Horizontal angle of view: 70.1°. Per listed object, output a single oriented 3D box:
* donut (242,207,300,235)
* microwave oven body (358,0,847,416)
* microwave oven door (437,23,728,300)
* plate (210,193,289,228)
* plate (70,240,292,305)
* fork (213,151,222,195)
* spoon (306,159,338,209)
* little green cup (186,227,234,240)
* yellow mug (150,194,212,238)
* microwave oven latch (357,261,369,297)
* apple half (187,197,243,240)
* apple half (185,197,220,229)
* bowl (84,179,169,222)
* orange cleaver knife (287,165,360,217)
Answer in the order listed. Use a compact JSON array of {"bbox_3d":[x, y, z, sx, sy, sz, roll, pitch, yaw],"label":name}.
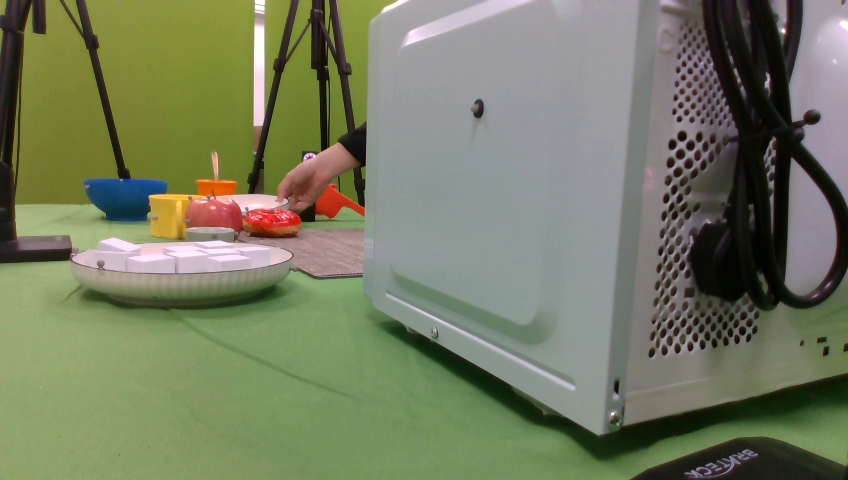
[{"bbox_3d":[-0.263,-0.032,1.039,0.099,0.048,0.099,4,9,0],"label":"donut"},{"bbox_3d":[0.211,-0.047,0.474,0.444,0.260,0.324,-1,7,-28],"label":"microwave oven body"},{"bbox_3d":[0.181,-0.072,0.621,0.358,0.243,0.039,-2,8,-29],"label":"microwave oven door"},{"bbox_3d":[-0.369,-0.057,1.177,0.209,0.038,0.209,-1,15,1],"label":"plate"},{"bbox_3d":[-0.242,0.031,0.618,0.208,0.039,0.207,2,8,0],"label":"plate"},{"bbox_3d":[-0.494,-0.143,1.442,0.028,0.018,0.206,-1,52,-21],"label":"fork"},{"bbox_3d":[-0.257,-0.147,1.567,0.041,0.022,0.193,1,51,20],"label":"spoon"},{"bbox_3d":[-0.284,0.005,0.805,0.061,0.038,0.061,2,8,0],"label":"little green cup"},{"bbox_3d":[-0.401,-0.039,1.003,0.100,0.064,0.130,0,9,-20],"label":"yellow mug"},{"bbox_3d":[-0.019,0.033,0.531,0.079,0.029,0.030,-1,7,-27],"label":"microwave oven latch"},{"bbox_3d":[-0.305,-0.026,0.907,0.053,0.074,0.081,12,8,31],"label":"apple half"},{"bbox_3d":[-0.338,-0.031,0.927,0.032,0.081,0.081,12,12,31],"label":"apple half"},{"bbox_3d":[-0.584,-0.078,1.194,0.151,0.077,0.151,3,8,0],"label":"bowl"},{"bbox_3d":[-0.211,-0.092,1.382,0.212,0.077,0.012,34,2,-15],"label":"orange cleaver knife"}]
